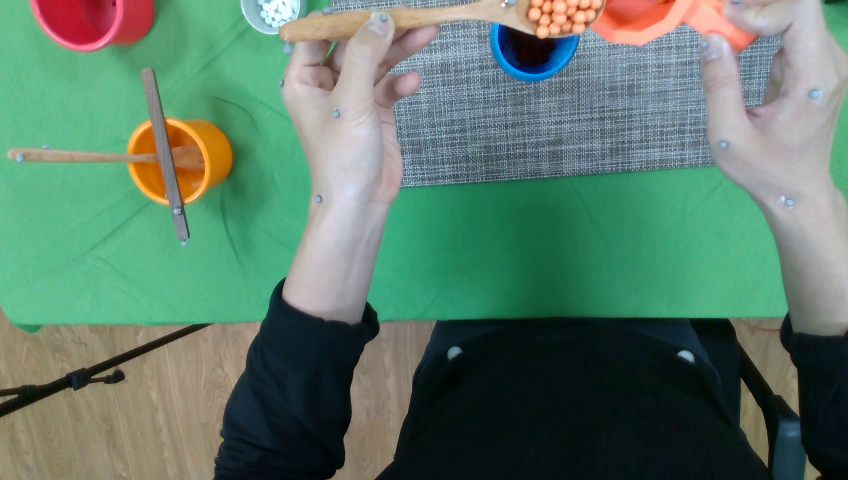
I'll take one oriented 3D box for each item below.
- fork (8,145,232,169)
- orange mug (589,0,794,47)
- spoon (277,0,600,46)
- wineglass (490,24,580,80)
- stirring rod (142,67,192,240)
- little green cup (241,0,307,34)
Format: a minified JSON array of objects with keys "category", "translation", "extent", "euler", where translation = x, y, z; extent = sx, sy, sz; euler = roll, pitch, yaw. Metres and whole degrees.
[{"category":"fork","translation":[-0.304,-0.086,0.626],"extent":[0.208,0.018,0.028],"euler":[-5,119,-37]},{"category":"orange mug","translation":[0.165,-0.171,0.380],"extent":[0.125,0.101,0.084],"euler":[47,146,17]},{"category":"spoon","translation":[0.009,-0.134,0.361],"extent":[0.194,0.021,0.042],"euler":[-8,119,-6]},{"category":"wineglass","translation":[0.094,-0.179,0.531],"extent":[0.073,0.171,0.074],"euler":[2,107,7]},{"category":"stirring rod","translation":[-0.262,-0.085,0.618],"extent":[0.014,0.006,0.177],"euler":[-3,106,9]},{"category":"little green cup","translation":[-0.150,-0.241,0.616],"extent":[0.061,0.038,0.062],"euler":[2,108,7]}]
